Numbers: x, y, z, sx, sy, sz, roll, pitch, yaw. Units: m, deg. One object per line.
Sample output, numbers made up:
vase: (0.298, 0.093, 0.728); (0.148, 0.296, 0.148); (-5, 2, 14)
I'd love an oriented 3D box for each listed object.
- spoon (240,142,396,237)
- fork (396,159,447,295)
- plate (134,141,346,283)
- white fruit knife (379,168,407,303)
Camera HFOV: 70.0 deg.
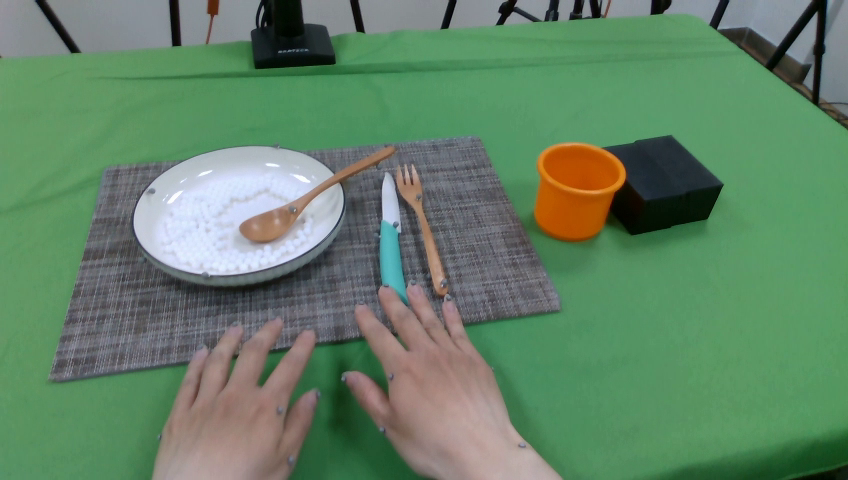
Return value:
spoon: (-0.106, -0.057, 0.640); (0.193, 0.022, 0.041); (-36, 54, -19)
fork: (-0.003, -0.021, 0.644); (0.028, 0.019, 0.205); (2, 41, -18)
plate: (-0.184, -0.029, 0.628); (0.209, 0.038, 0.207); (2, 43, -1)
white fruit knife: (-0.036, -0.015, 0.641); (0.027, 0.016, 0.205); (23, 35, -24)
